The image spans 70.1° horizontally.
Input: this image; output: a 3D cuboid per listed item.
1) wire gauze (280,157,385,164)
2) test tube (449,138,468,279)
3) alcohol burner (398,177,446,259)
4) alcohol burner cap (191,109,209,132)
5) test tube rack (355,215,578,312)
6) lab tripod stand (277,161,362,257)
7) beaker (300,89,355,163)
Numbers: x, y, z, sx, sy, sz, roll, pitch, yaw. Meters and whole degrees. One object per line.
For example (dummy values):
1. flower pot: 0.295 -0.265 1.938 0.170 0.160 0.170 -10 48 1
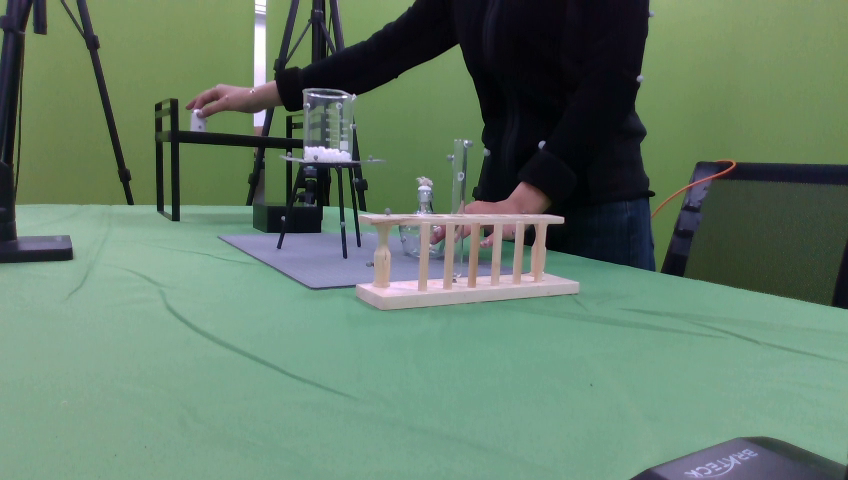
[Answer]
1. wire gauze: -0.134 -0.113 0.875 0.122 0.011 0.124 -1 6 -30
2. test tube: 0.035 -0.033 0.645 0.017 0.150 0.017 3 4 0
3. alcohol burner: 0.000 -0.033 0.888 0.078 0.119 0.078 2 6 0
4. alcohol burner cap: -0.466 -0.248 1.258 0.034 0.048 0.034 4 13 -1
5. test tube rack: 0.053 0.018 0.641 0.243 0.085 0.066 -1 8 -29
6. lab tripod stand: -0.142 -0.049 0.884 0.148 0.131 0.148 2 9 0
7. beaker: -0.136 -0.161 0.867 0.083 0.100 0.074 6 8 24
